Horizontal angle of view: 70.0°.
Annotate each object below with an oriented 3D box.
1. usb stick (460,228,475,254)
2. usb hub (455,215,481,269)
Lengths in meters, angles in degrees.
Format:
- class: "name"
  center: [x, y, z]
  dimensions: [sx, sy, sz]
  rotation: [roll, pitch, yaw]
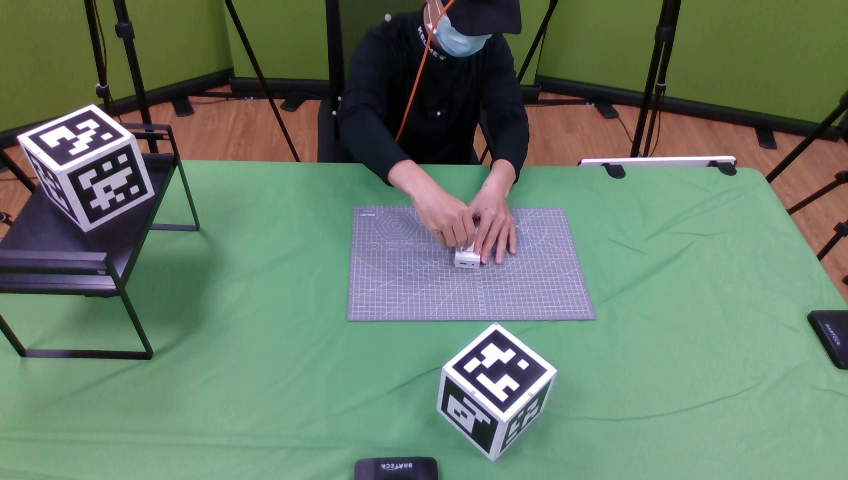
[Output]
- class: "usb stick"
  center: [0.082, 0.006, 1.150]
  dimensions: [0.027, 0.059, 0.021]
  rotation: [2, 37, -5]
- class: "usb hub"
  center: [0.087, 0.003, 1.198]
  dimensions: [0.049, 0.025, 0.124]
  rotation: [7, 47, -3]
